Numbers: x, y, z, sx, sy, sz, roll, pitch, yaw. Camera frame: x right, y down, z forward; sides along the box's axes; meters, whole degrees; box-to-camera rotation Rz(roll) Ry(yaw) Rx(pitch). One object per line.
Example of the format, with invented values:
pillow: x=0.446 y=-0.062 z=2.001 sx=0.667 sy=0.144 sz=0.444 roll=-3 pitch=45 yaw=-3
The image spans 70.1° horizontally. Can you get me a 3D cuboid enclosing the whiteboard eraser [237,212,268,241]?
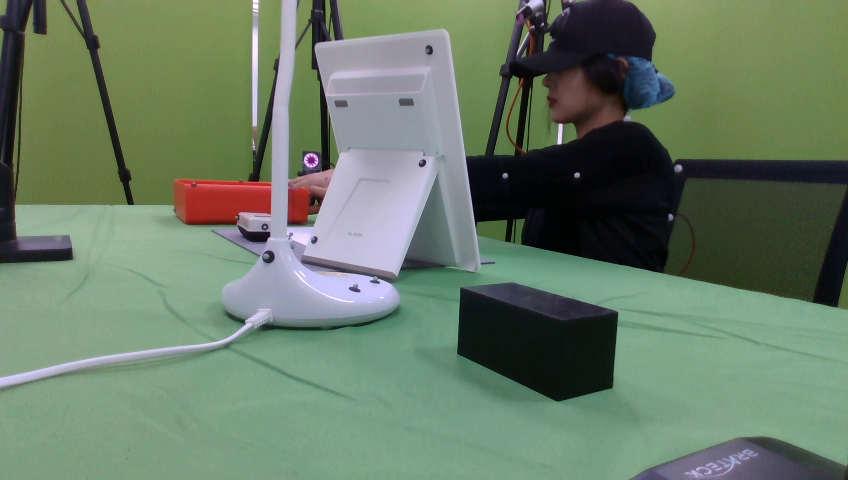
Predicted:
whiteboard eraser: x=-0.272 y=-0.023 z=0.998 sx=0.056 sy=0.042 sz=0.112 roll=-3 pitch=9 yaw=-26

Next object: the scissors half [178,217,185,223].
scissors half: x=-0.477 y=-0.066 z=1.271 sx=0.013 sy=0.040 sz=0.175 roll=2 pitch=22 yaw=5

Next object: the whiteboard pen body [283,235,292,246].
whiteboard pen body: x=-0.206 y=0.005 z=0.872 sx=0.017 sy=0.017 sz=0.140 roll=2 pitch=4 yaw=-6

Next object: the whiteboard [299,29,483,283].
whiteboard: x=-0.074 y=-0.082 z=0.742 sx=0.216 sy=0.305 sz=0.144 roll=9 pitch=29 yaw=38

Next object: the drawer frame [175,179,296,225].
drawer frame: x=-0.400 y=-0.083 z=1.279 sx=0.215 sy=0.082 sz=0.200 roll=-2 pitch=9 yaw=-29

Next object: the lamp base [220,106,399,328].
lamp base: x=-0.101 y=-0.023 z=0.531 sx=0.160 sy=0.180 sz=0.179 roll=4 pitch=10 yaw=10

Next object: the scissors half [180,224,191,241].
scissors half: x=-0.477 y=-0.055 z=1.277 sx=0.013 sy=0.040 sz=0.175 roll=9 pitch=39 yaw=3

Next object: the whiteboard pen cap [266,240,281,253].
whiteboard pen cap: x=-0.202 y=0.009 z=0.813 sx=0.018 sy=0.018 sz=0.033 roll=1 pitch=3 yaw=-8

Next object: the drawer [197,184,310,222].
drawer: x=-0.373 y=-0.083 z=1.294 sx=0.213 sy=0.073 sz=0.193 roll=-2 pitch=9 yaw=-28
